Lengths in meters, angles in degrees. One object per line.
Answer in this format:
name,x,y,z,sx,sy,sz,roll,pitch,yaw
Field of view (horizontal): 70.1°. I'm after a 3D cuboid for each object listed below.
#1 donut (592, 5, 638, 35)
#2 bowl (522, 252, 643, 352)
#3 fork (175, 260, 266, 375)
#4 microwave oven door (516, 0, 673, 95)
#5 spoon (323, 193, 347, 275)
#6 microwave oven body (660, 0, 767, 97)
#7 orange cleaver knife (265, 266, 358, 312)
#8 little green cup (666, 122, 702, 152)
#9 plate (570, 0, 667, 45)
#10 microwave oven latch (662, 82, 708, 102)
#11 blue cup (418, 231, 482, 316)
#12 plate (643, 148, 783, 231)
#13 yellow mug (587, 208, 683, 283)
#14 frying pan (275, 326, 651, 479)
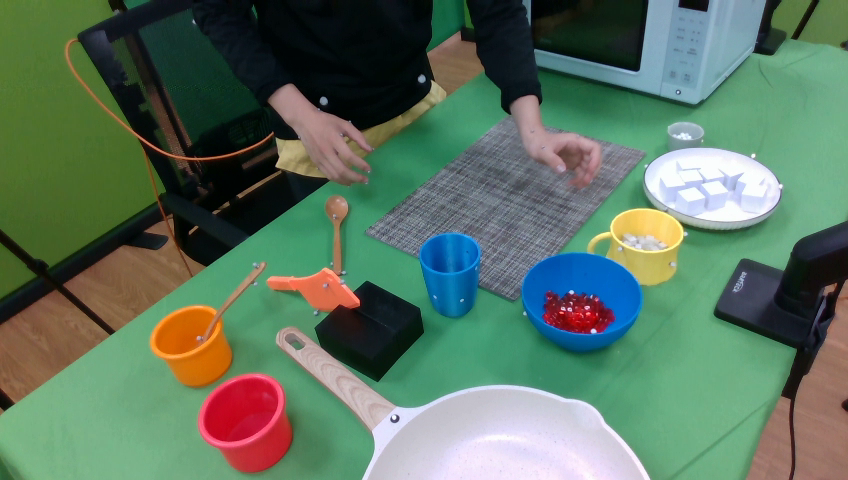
donut,0.428,-0.492,1.352,0.099,0.048,0.098,-6,41,6
bowl,0.204,0.093,0.792,0.151,0.077,0.150,-4,40,4
fork,-0.268,0.102,0.792,0.207,0.019,0.028,-51,41,16
microwave oven door,0.344,-0.458,1.256,0.353,0.245,0.039,26,51,33
spoon,-0.148,-0.014,1.008,0.042,0.022,0.192,0,40,-9
microwave oven body,0.473,-0.516,1.313,0.438,0.261,0.327,26,51,34
orange cleaver knife,-0.164,0.073,0.864,0.210,0.077,0.012,-6,31,50
little green cup,0.471,-0.184,1.102,0.061,0.039,0.061,-5,40,4
plate,0.436,-0.490,1.368,0.209,0.038,0.208,-5,40,5
microwave oven latch,0.517,-0.298,1.202,0.078,0.029,0.030,27,52,34
blue cup,0.040,0.053,0.843,0.092,0.100,0.092,-4,43,4
plate,0.464,-0.080,0.986,0.207,0.039,0.206,-4,41,4
yellow mug,0.305,0.009,0.884,0.131,0.064,0.099,-4,41,5
frying pan,0.004,0.229,0.641,0.484,0.103,0.308,34,54,28
